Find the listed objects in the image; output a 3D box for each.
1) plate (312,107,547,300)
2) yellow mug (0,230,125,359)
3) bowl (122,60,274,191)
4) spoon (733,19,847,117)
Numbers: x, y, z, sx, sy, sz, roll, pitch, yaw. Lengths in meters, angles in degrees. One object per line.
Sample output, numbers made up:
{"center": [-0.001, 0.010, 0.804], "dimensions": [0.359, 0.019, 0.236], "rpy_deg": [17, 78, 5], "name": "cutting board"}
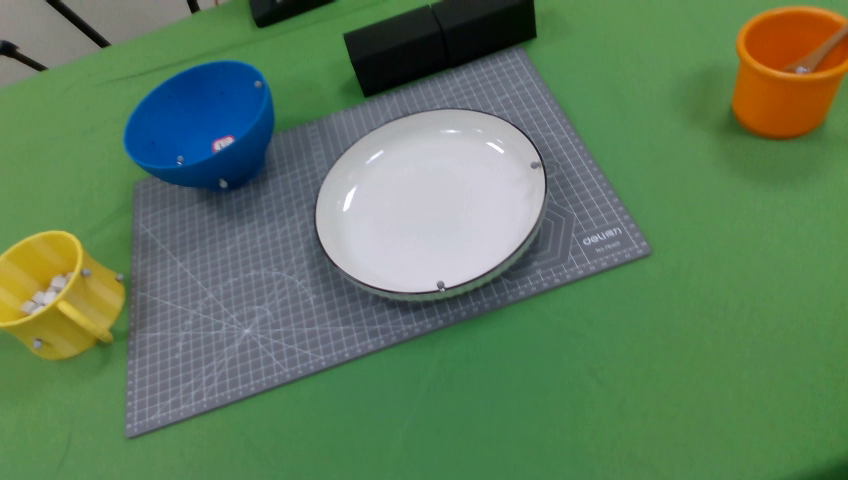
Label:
{"center": [0.005, -0.033, 0.537], "dimensions": [0.209, 0.038, 0.207], "rpy_deg": [-7, 54, 9], "name": "plate"}
{"center": [-0.326, 0.055, 0.545], "dimensions": [0.130, 0.064, 0.099], "rpy_deg": [25, 64, 27], "name": "yellow mug"}
{"center": [-0.215, -0.103, 0.619], "dimensions": [0.151, 0.077, 0.150], "rpy_deg": [-7, 53, 10], "name": "bowl"}
{"center": [0.336, -0.167, 0.481], "dimensions": [0.022, 0.194, 0.041], "rpy_deg": [13, 50, -32], "name": "spoon"}
